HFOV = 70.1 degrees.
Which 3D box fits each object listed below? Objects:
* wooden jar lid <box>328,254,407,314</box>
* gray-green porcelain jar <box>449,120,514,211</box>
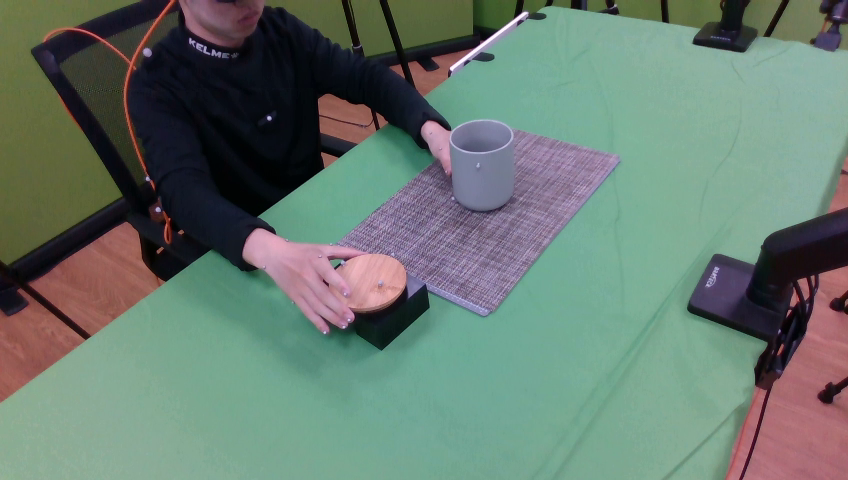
[{"bbox_3d":[-0.077,0.062,0.832,0.108,0.021,0.108,-4,39,4],"label":"wooden jar lid"},{"bbox_3d":[0.097,-0.120,1.009,0.106,0.127,0.105,-4,41,4],"label":"gray-green porcelain jar"}]
